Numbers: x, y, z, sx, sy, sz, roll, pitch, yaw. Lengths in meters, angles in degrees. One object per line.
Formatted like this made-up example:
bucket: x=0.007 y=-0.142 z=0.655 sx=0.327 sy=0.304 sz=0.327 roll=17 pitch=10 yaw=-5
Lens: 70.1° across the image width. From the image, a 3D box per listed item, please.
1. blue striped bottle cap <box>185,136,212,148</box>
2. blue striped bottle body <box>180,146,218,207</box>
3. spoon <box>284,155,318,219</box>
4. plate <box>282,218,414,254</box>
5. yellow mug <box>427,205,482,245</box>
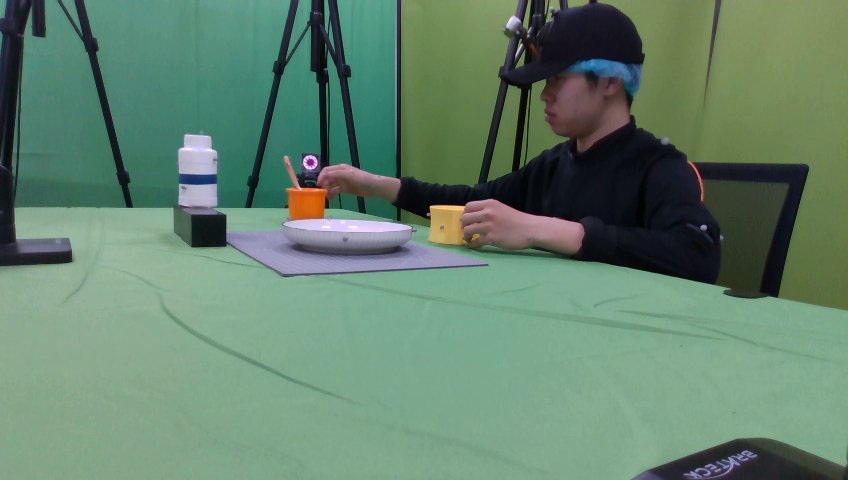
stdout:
blue striped bottle cap: x=-0.390 y=-0.169 z=1.047 sx=0.044 sy=0.020 sz=0.044 roll=4 pitch=10 yaw=0
blue striped bottle body: x=-0.392 y=-0.119 z=1.053 sx=0.063 sy=0.120 sz=0.063 roll=3 pitch=8 yaw=0
spoon: x=-0.286 y=-0.122 z=1.366 sx=0.042 sy=0.021 sz=0.193 roll=-5 pitch=50 yaw=-37
plate: x=-0.121 y=-0.007 z=0.971 sx=0.208 sy=0.039 sz=0.207 roll=2 pitch=7 yaw=0
yellow mug: x=0.062 y=-0.028 z=1.111 sx=0.100 sy=0.064 sz=0.130 roll=0 pitch=8 yaw=-20
